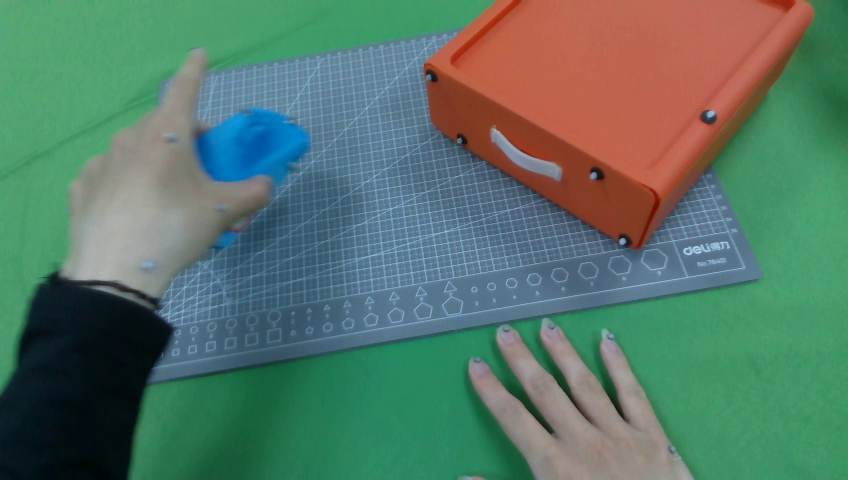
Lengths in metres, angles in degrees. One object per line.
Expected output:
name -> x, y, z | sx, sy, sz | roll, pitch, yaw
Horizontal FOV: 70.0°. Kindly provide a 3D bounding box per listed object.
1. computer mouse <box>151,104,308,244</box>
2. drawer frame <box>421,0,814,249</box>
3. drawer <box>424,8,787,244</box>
computer mouse -> -0.139, -0.053, 0.434 | 0.062, 0.041, 0.117 | 27, 65, 20
drawer frame -> 0.142, -0.132, 0.469 | 0.200, 0.083, 0.213 | 35, 68, 23
drawer -> 0.141, -0.130, 0.470 | 0.193, 0.074, 0.211 | 36, 69, 24
